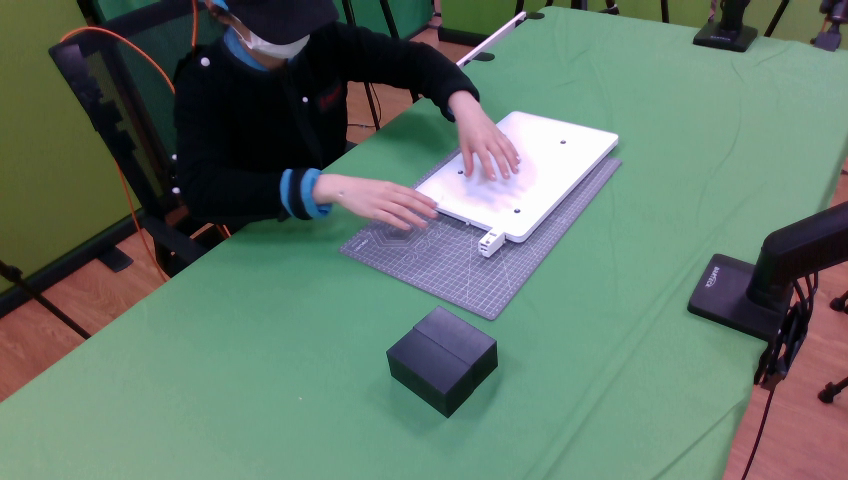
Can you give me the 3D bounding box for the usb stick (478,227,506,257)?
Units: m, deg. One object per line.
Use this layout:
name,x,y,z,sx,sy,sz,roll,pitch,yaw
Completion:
usb stick,0.109,-0.001,0.934,0.021,0.027,0.059,23,43,33

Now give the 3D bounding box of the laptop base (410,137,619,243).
laptop base,0.170,-0.127,1.096,0.233,0.023,0.355,21,47,33

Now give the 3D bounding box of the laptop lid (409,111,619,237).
laptop lid,0.167,-0.136,1.089,0.239,0.013,0.358,24,48,34
